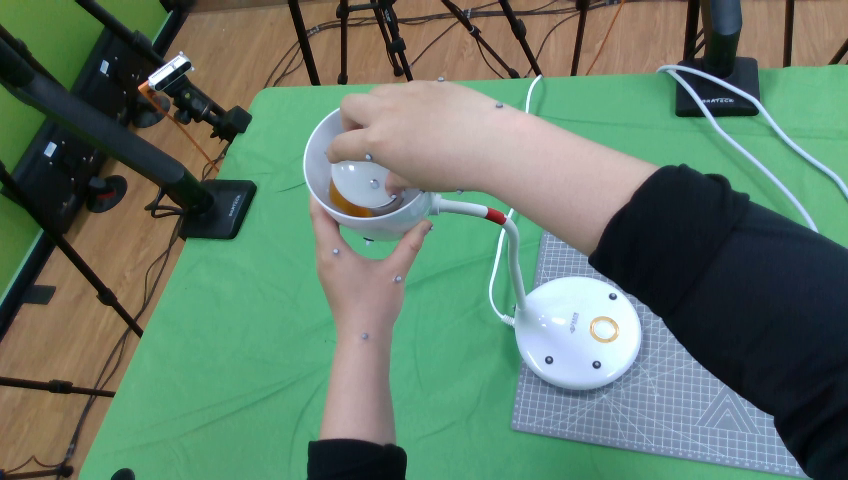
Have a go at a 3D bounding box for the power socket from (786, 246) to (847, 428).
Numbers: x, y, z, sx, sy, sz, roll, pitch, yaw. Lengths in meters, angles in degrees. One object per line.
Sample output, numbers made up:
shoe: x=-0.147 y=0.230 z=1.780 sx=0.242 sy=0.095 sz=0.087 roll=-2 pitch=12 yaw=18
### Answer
power socket: x=0.478 y=0.105 z=0.716 sx=0.072 sy=0.033 sz=0.225 roll=3 pitch=59 yaw=18

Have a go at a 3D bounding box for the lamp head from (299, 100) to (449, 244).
lamp head: x=-0.036 y=-0.045 z=0.536 sx=0.112 sy=0.124 sz=0.111 roll=-4 pitch=68 yaw=11

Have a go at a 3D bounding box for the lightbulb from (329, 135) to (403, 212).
lightbulb: x=-0.044 y=-0.049 z=0.512 sx=0.059 sy=0.108 sz=0.059 roll=-1 pitch=75 yaw=6

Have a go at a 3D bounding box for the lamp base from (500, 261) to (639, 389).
lamp base: x=0.166 y=0.079 z=0.740 sx=0.178 sy=0.182 sz=0.159 roll=-3 pitch=58 yaw=19
